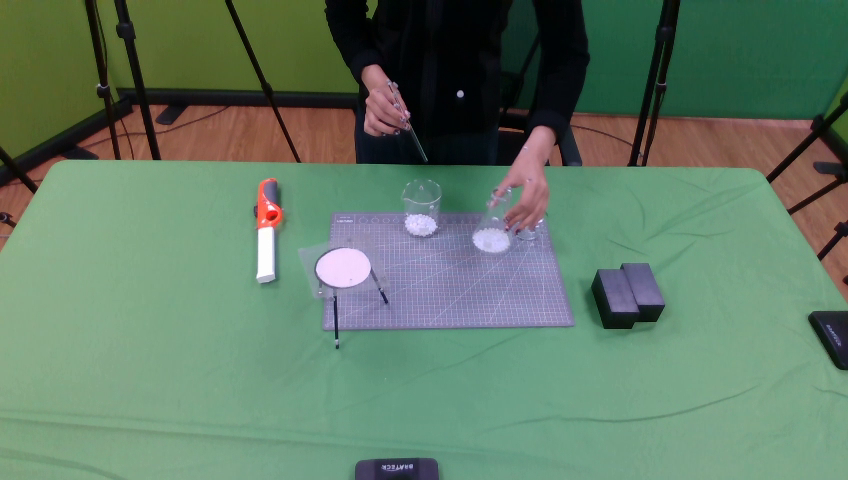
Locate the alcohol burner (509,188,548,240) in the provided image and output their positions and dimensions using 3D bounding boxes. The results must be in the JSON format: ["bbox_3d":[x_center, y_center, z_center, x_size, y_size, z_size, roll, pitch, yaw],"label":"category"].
[{"bbox_3d":[0.211,-0.057,1.204,0.078,0.120,0.077,1,47,-1],"label":"alcohol burner"}]

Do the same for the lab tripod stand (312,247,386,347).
[{"bbox_3d":[-0.134,0.085,1.028,0.148,0.132,0.147,2,45,-1],"label":"lab tripod stand"}]

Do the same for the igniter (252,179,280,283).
[{"bbox_3d":[-0.312,-0.027,1.197,0.057,0.025,0.274,-12,47,-1],"label":"igniter"}]

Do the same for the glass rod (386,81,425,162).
[{"bbox_3d":[-0.033,-0.223,1.161,0.008,0.201,0.008,-13,48,14],"label":"glass rod"}]

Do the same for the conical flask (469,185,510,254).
[{"bbox_3d":[0.125,-0.039,1.079,0.075,0.122,0.075,3,43,-3],"label":"conical flask"}]

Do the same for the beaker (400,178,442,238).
[{"bbox_3d":[-0.008,-0.059,1.200,0.084,0.101,0.073,-15,48,-17],"label":"beaker"}]

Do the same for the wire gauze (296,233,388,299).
[{"bbox_3d":[-0.133,0.041,0.977,0.125,0.011,0.120,-12,47,-16],"label":"wire gauze"}]

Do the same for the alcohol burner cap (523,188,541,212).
[{"bbox_3d":[0.212,-0.081,1.177,0.034,0.048,0.033,-1,54,2],"label":"alcohol burner cap"}]
